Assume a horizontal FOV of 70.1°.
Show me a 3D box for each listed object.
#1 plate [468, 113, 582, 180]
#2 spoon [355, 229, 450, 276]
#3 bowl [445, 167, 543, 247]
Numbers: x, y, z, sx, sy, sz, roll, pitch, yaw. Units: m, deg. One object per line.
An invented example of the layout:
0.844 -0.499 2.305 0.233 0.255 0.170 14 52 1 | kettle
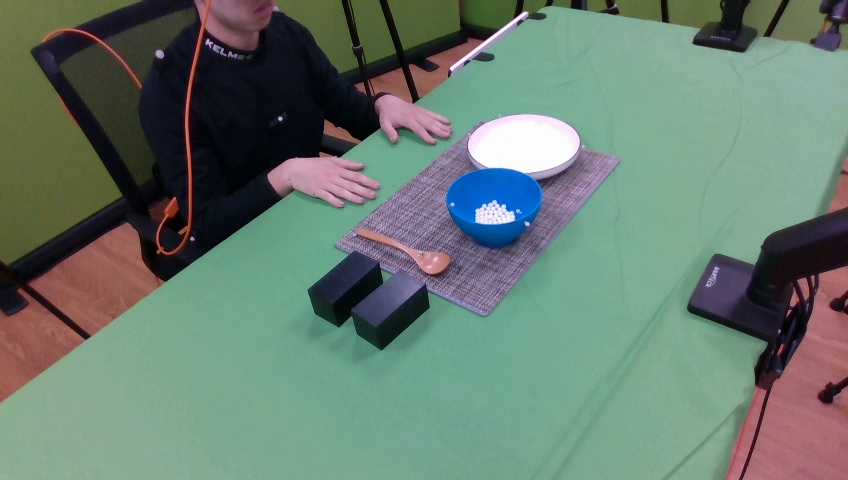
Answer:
0.186 -0.169 1.122 0.207 0.039 0.206 -4 40 4 | plate
-0.038 0.013 0.953 0.192 0.022 0.041 24 67 31 | spoon
0.111 -0.042 0.952 0.151 0.077 0.150 -4 41 4 | bowl
